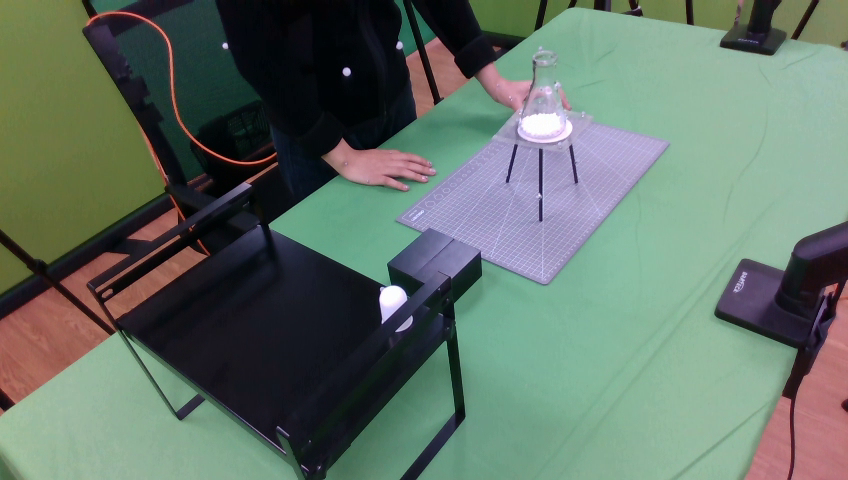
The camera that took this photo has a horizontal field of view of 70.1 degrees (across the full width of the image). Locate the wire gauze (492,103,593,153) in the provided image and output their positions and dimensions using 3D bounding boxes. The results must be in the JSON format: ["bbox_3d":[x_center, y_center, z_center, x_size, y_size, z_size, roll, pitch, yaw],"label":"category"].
[{"bbox_3d":[0.191,-0.179,0.965,0.120,0.011,0.125,17,49,29],"label":"wire gauze"}]

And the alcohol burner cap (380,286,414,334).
[{"bbox_3d":[-0.029,0.068,0.605,0.034,0.048,0.033,-5,39,4],"label":"alcohol burner cap"}]

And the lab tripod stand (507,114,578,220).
[{"bbox_3d":[0.198,-0.128,1.005,0.148,0.132,0.147,-3,42,3],"label":"lab tripod stand"}]

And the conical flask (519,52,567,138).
[{"bbox_3d":[0.183,-0.223,0.926,0.075,0.122,0.075,-4,41,4],"label":"conical flask"}]

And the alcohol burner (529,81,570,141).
[{"bbox_3d":[0.241,-0.251,1.159,0.078,0.119,0.077,-4,42,4],"label":"alcohol burner"}]
